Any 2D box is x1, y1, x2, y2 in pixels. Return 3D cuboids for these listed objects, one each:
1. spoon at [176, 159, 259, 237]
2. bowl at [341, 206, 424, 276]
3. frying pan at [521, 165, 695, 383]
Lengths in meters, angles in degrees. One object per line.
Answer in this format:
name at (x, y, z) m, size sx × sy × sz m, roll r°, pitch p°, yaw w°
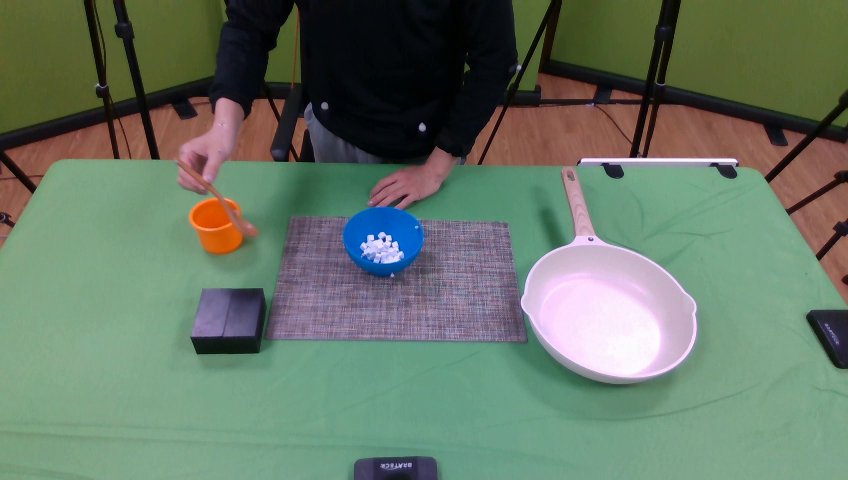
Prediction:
spoon at (-0.337, -0.068, 1.002) m, size 0.021 × 0.195 × 0.041 m, roll -27°, pitch 42°, yaw 6°
bowl at (-0.079, 0.014, 1.133) m, size 0.151 × 0.077 × 0.150 m, roll 3°, pitch 46°, yaw -2°
frying pan at (0.312, 0.044, 1.123) m, size 0.307 × 0.103 × 0.484 m, roll 1°, pitch 55°, yaw -5°
